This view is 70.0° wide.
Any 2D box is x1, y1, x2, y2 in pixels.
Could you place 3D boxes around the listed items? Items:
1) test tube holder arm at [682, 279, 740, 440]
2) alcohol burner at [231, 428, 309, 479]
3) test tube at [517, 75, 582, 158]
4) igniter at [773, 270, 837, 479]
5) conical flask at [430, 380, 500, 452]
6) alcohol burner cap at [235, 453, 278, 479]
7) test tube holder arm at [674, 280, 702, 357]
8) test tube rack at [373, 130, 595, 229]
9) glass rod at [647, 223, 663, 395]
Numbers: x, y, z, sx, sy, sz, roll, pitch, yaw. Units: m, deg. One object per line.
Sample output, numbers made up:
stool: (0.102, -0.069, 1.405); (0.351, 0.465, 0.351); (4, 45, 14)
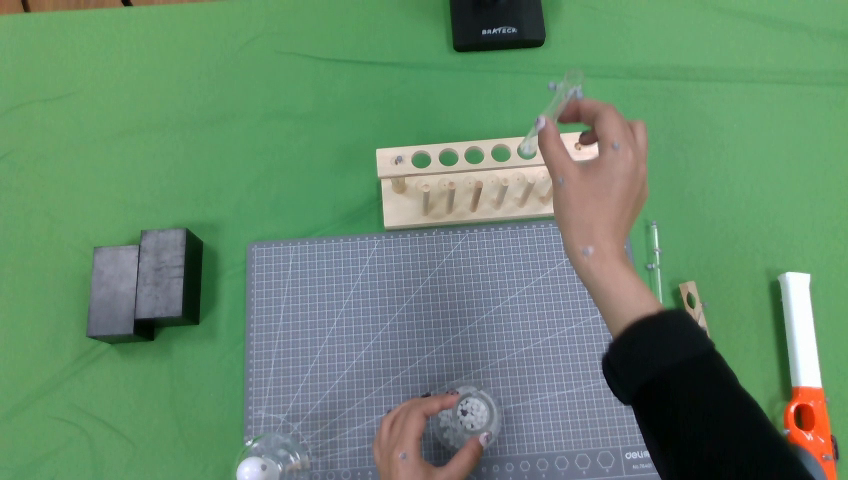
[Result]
test tube holder arm: (0.315, 0.129, 0.669); (0.013, 0.015, 0.177); (-23, 70, 31)
alcohol burner: (-0.155, 0.223, 0.590); (0.078, 0.120, 0.077); (-1, 71, 2)
test tube: (0.103, -0.100, 0.517); (0.017, 0.150, 0.017); (1, 78, -5)
igniter: (0.410, 0.167, 0.655); (0.057, 0.025, 0.275); (6, 73, -8)
conical flask: (0.043, 0.172, 0.601); (0.075, 0.122, 0.075); (0, 72, 0)
alcohol burner cap: (-0.156, 0.210, 0.556); (0.034, 0.048, 0.033); (0, 64, 1)
test tube holder arm: (0.302, 0.089, 0.685); (0.010, 0.015, 0.087); (-22, 70, 32)
test tube rack: (0.068, -0.067, 0.698); (0.242, 0.085, 0.066); (-5, 72, -1)
glass rod: (0.264, 0.075, 0.693); (0.008, 0.008, 0.198); (2, 75, 1)
